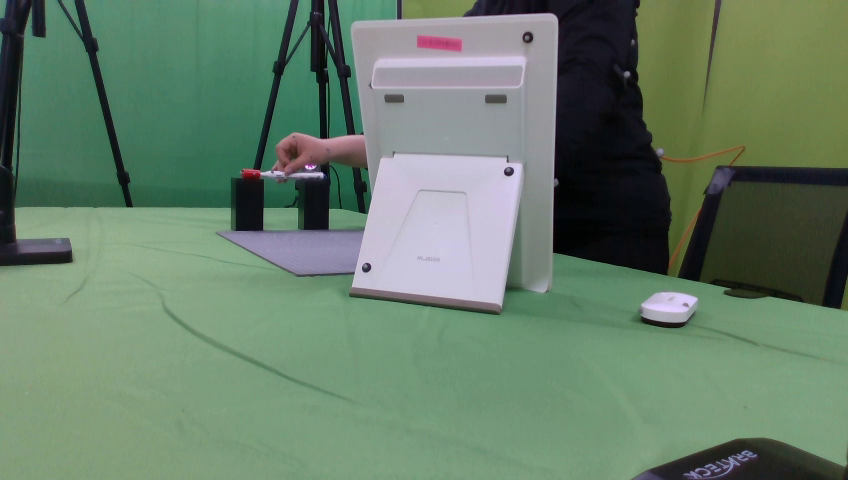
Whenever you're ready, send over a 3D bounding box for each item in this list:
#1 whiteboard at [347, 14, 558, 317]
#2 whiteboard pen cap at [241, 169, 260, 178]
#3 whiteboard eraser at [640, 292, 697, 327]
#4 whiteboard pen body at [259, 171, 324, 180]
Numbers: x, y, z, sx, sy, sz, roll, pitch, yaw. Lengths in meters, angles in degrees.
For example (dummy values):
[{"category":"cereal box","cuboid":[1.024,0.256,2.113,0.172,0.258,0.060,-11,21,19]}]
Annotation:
[{"category":"whiteboard","cuboid":[0.012,-0.056,0.609,0.216,0.305,0.144,5,27,20]},{"category":"whiteboard pen cap","cuboid":[-0.328,-0.126,1.142,0.032,0.017,0.017,-1,8,-35]},{"category":"whiteboard eraser","cuboid":[0.240,0.066,0.590,0.041,0.019,0.102,7,7,31]},{"category":"whiteboard pen body","cuboid":[-0.263,-0.126,1.187,0.141,0.017,0.017,-2,9,-34]}]
